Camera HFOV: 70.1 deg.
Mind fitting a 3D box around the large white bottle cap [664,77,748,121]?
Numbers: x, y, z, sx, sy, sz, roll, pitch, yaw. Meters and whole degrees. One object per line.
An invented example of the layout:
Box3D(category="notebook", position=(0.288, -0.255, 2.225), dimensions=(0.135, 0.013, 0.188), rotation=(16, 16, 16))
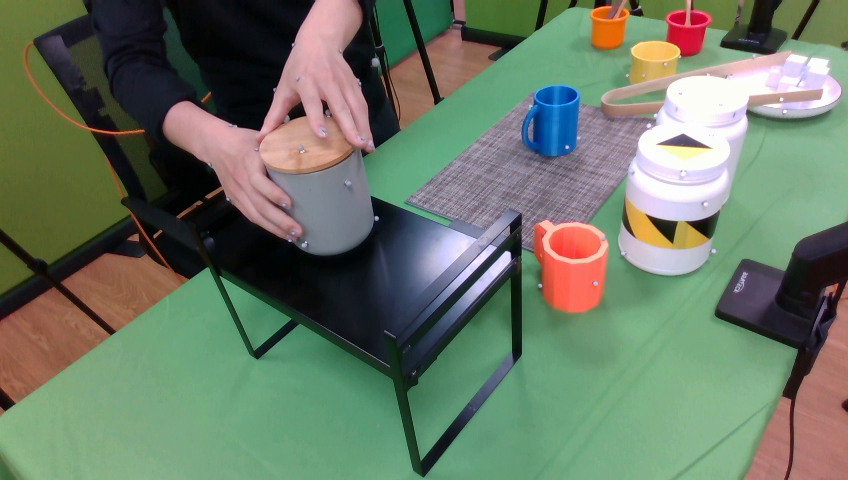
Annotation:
Box3D(category="large white bottle cap", position=(0.421, -0.212, 0.905), dimensions=(0.115, 0.018, 0.114), rotation=(-4, 40, 4))

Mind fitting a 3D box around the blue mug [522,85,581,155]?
Box3D(category="blue mug", position=(0.233, -0.218, 1.127), dimensions=(0.117, 0.106, 0.081), rotation=(-23, 43, -16))

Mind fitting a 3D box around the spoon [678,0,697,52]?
Box3D(category="spoon", position=(0.614, -0.526, 1.402), dimensions=(0.041, 0.022, 0.193), rotation=(3, 86, 11))

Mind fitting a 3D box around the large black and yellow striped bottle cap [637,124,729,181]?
Box3D(category="large black and yellow striped bottle cap", position=(0.346, -0.119, 0.810), dimensions=(0.115, 0.019, 0.114), rotation=(-5, 41, 5))

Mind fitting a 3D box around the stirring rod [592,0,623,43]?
Box3D(category="stirring rod", position=(0.460, -0.557, 1.461), dimensions=(0.014, 0.176, 0.006), rotation=(35, 11, 22))

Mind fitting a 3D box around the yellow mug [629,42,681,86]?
Box3D(category="yellow mug", position=(0.495, -0.389, 1.321), dimensions=(0.100, 0.064, 0.130), rotation=(-14, 40, -6))

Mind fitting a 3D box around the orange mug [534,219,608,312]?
Box3D(category="orange mug", position=(0.200, 0.027, 0.858), dimensions=(0.084, 0.101, 0.125), rotation=(-24, 47, -18))

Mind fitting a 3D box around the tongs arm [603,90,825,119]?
Box3D(category="tongs arm", position=(0.546, -0.262, 1.163), dimensions=(0.386, 0.028, 0.028), rotation=(-1, 49, 18))

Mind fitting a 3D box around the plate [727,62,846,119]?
Box3D(category="plate", position=(0.710, -0.292, 1.198), dimensions=(0.207, 0.039, 0.206), rotation=(-4, 40, 4))

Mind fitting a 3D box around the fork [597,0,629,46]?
Box3D(category="fork", position=(0.479, -0.558, 1.455), dimensions=(0.028, 0.019, 0.207), rotation=(35, 100, 38))

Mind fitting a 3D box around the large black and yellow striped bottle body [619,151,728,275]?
Box3D(category="large black and yellow striped bottle body", position=(0.354, -0.056, 0.865), dimensions=(0.131, 0.185, 0.130), rotation=(-4, 41, 4))

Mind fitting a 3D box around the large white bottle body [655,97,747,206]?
Box3D(category="large white bottle body", position=(0.431, -0.148, 0.959), dimensions=(0.130, 0.185, 0.130), rotation=(-4, 41, 4))

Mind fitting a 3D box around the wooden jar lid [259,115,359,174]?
Box3D(category="wooden jar lid", position=(-0.124, -0.102, 0.662), dimensions=(0.108, 0.021, 0.108), rotation=(-3, 42, 3))

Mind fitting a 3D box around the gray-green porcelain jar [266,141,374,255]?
Box3D(category="gray-green porcelain jar", position=(-0.117, -0.054, 0.703), dimensions=(0.106, 0.127, 0.105), rotation=(-4, 40, 4))

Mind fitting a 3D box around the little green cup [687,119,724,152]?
Box3D(category="little green cup", position=(0.514, -0.191, 1.109), dimensions=(0.061, 0.039, 0.061), rotation=(-5, 40, 5))

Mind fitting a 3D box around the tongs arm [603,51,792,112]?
Box3D(category="tongs arm", position=(0.552, -0.320, 1.224), dimensions=(0.384, 0.027, 0.050), rotation=(-11, 44, 7))
